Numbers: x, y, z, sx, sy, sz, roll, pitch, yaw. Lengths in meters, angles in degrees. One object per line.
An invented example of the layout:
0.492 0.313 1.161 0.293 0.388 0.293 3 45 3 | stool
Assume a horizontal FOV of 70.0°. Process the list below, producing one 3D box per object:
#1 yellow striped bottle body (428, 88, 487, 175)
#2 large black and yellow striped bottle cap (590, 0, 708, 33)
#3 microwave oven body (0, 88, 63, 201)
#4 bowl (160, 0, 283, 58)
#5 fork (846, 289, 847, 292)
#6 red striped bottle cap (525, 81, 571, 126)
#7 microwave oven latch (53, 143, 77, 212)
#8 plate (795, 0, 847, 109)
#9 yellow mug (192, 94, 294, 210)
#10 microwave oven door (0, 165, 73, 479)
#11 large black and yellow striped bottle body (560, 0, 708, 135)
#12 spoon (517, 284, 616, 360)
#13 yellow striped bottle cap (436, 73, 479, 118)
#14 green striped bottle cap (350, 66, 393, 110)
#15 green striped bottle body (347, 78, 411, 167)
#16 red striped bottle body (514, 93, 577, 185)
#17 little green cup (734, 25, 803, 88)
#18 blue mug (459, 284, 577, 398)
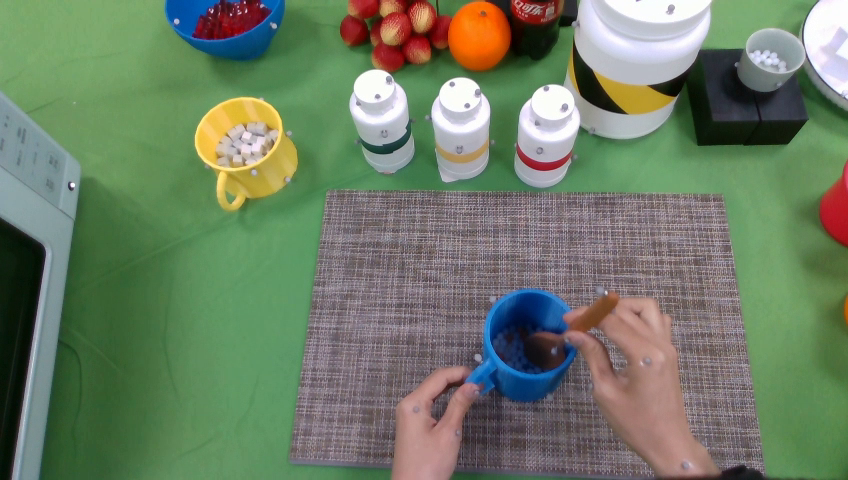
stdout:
0.038 -0.127 0.667 0.063 0.121 0.062 -2 66 4 | yellow striped bottle body
0.216 -0.248 0.580 0.115 0.019 0.114 -2 65 4 | large black and yellow striped bottle cap
-0.559 0.070 0.545 0.326 0.262 0.438 -8 67 1 | microwave oven body
-0.248 -0.292 0.783 0.151 0.077 0.150 -1 66 3 | bowl
0.477 0.075 0.531 0.028 0.019 0.205 -36 24 -10 | fork
0.125 -0.137 0.608 0.044 0.018 0.044 0 65 0 | red striped bottle cap
-0.425 -0.070 0.702 0.030 0.030 0.078 -6 67 1 | microwave oven latch
0.544 -0.223 0.716 0.209 0.038 0.207 -1 67 4 | plate
-0.213 -0.097 0.702 0.100 0.064 0.130 10 68 9 | yellow mug
-0.410 0.087 0.521 0.039 0.245 0.353 -8 66 2 | microwave oven door
0.223 -0.215 0.657 0.131 0.185 0.130 -2 66 4 | large black and yellow striped bottle body
0.118 0.073 0.508 0.041 0.194 0.021 34 70 6 | spoon
0.034 -0.148 0.620 0.044 0.019 0.044 -1 68 3 | yellow striped bottle cap
-0.055 -0.159 0.631 0.044 0.020 0.044 -2 65 4 | green striped bottle cap
-0.050 -0.138 0.679 0.063 0.120 0.062 -1 66 3 | green striped bottle body
0.130 -0.115 0.656 0.063 0.120 0.062 -3 65 6 | red striped bottle body
0.374 -0.198 0.662 0.061 0.039 0.061 0 64 1 | little green cup
0.081 0.107 0.567 0.116 0.106 0.081 -33 67 -10 | blue mug
